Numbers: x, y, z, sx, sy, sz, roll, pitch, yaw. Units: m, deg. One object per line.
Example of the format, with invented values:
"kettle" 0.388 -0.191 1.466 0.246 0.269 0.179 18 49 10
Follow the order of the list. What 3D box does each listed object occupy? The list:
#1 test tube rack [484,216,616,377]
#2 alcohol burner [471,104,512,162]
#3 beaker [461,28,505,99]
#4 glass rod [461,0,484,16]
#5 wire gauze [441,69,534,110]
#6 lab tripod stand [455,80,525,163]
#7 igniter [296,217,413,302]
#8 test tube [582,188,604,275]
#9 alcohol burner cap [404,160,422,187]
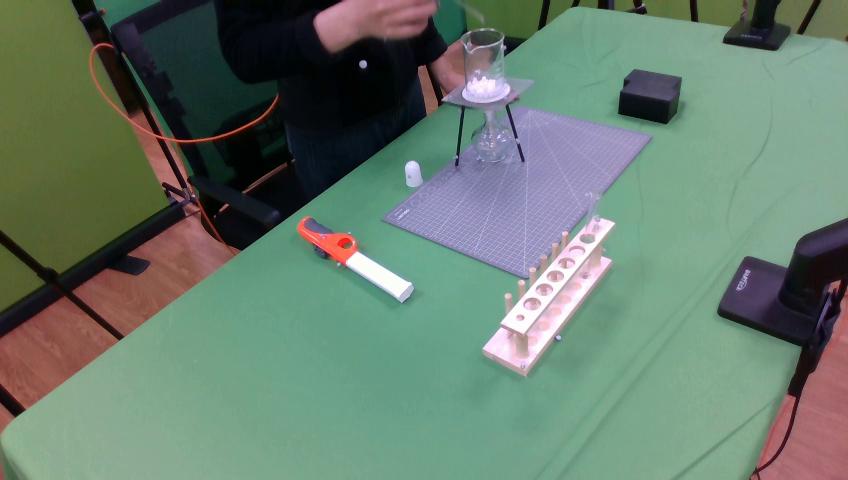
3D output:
"test tube rack" 0.174 0.064 0.823 0.066 0.085 0.243 23 49 33
"alcohol burner" 0.124 -0.207 1.126 0.078 0.119 0.077 -5 43 5
"beaker" 0.103 -0.304 1.051 0.073 0.101 0.084 19 48 29
"glass rod" 0.030 -0.367 0.868 0.008 0.008 0.201 32 12 38
"wire gauze" 0.114 -0.268 1.082 0.120 0.011 0.125 22 47 28
"lab tripod stand" 0.120 -0.219 1.126 0.148 0.132 0.147 -4 39 4
"igniter" -0.121 0.025 0.970 0.274 0.025 0.057 29 63 37
"test tube" 0.228 -0.007 0.821 0.017 0.151 0.017 -3 42 3
"alcohol burner cap" -0.022 -0.125 1.118 0.034 0.048 0.033 -4 40 4
